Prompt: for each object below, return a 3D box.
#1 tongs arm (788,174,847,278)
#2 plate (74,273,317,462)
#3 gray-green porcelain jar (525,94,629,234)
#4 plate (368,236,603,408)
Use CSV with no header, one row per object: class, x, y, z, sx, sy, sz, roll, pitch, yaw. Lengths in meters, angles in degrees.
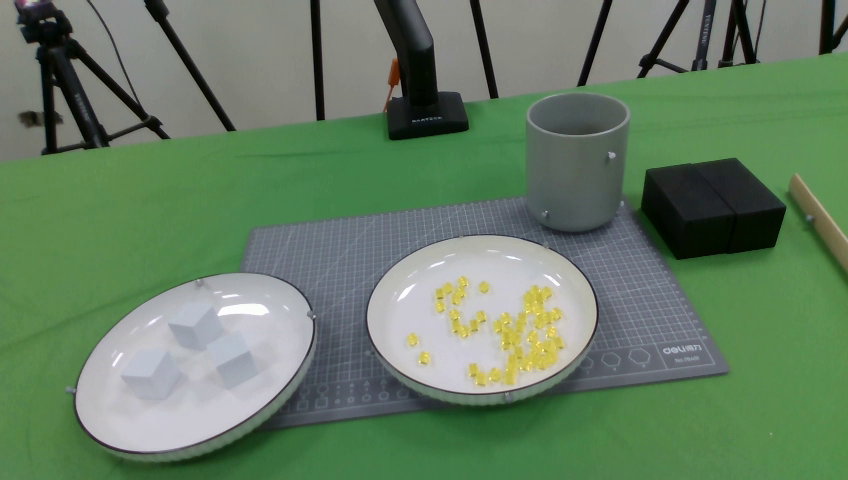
tongs arm,0.412,0.052,0.536,0.028,0.028,0.384,-2,37,4
plate,-0.196,0.110,0.542,0.209,0.038,0.207,-6,37,5
gray-green porcelain jar,0.163,-0.079,0.660,0.106,0.127,0.105,-5,37,4
plate,0.054,0.072,0.552,0.207,0.039,0.205,-4,37,4
